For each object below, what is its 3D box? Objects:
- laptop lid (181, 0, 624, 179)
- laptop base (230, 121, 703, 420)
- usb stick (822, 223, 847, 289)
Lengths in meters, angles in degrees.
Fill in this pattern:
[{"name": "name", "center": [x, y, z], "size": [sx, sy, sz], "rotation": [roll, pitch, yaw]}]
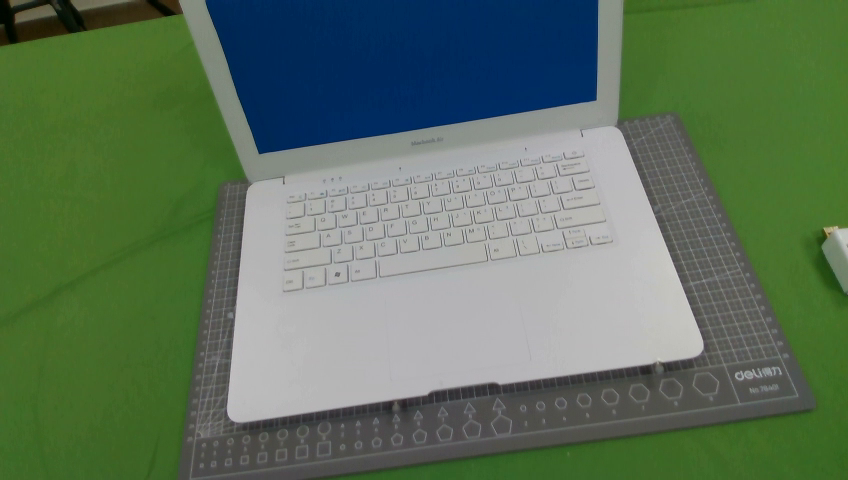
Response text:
[{"name": "laptop lid", "center": [-0.011, -0.174, 0.504], "size": [0.356, 0.244, 0.013], "rotation": [-10, 37, 3]}, {"name": "laptop base", "center": [0.019, 0.014, 0.508], "size": [0.354, 0.023, 0.233], "rotation": [-9, 58, 2]}, {"name": "usb stick", "center": [0.325, 0.007, 0.463], "size": [0.021, 0.027, 0.058], "rotation": [-7, 51, 5]}]
